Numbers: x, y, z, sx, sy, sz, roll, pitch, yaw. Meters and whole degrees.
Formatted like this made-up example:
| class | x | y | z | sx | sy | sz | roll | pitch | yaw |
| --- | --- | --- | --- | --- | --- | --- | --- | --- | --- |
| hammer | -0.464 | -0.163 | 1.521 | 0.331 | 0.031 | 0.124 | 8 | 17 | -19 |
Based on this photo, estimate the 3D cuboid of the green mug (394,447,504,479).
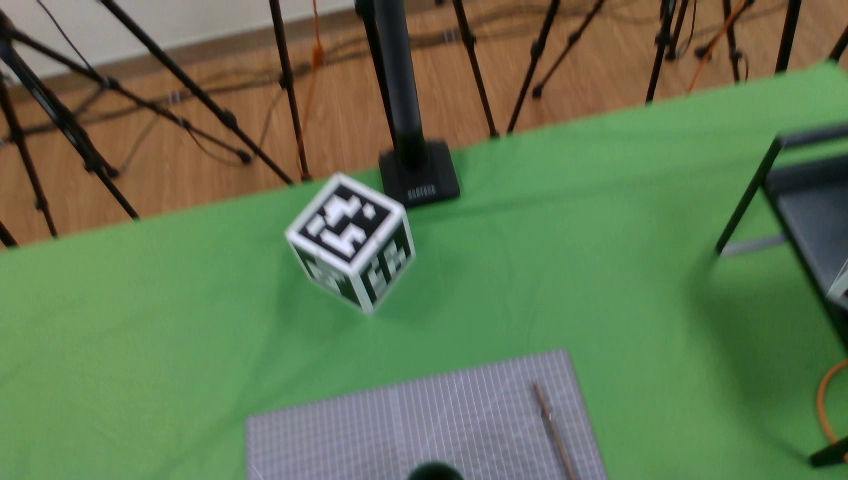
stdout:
| class | x | y | z | sx | sy | sz | roll | pitch | yaw |
| --- | --- | --- | --- | --- | --- | --- | --- | --- | --- |
| green mug | 0.028 | 0.281 | 0.680 | 0.125 | 0.106 | 0.091 | -11 | 59 | 1 |

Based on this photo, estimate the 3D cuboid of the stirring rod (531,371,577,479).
| class | x | y | z | sx | sy | sz | roll | pitch | yaw |
| --- | --- | --- | --- | --- | --- | --- | --- | --- | --- |
| stirring rod | 0.163 | 0.241 | 0.739 | 0.006 | 0.014 | 0.174 | -13 | 58 | -7 |
